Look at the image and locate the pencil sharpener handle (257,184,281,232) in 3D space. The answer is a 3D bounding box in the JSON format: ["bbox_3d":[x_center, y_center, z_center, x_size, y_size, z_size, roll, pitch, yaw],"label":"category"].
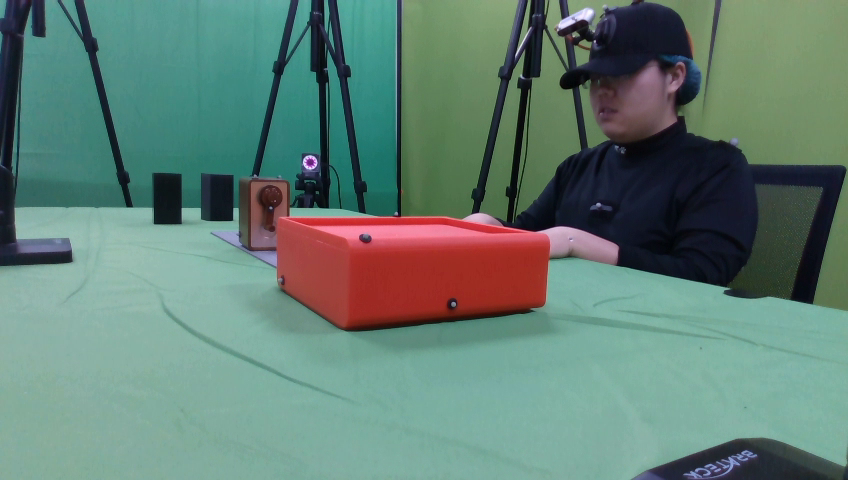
[{"bbox_3d":[-0.219,-0.046,0.865,0.036,0.067,0.030,6,5,-29],"label":"pencil sharpener handle"}]

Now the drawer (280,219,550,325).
[{"bbox_3d":[-0.016,0.024,0.612,0.213,0.073,0.193,-3,9,-30],"label":"drawer"}]

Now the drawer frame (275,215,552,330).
[{"bbox_3d":[-0.017,0.022,0.610,0.215,0.082,0.200,-2,9,-31],"label":"drawer frame"}]

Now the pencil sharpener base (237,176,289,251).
[{"bbox_3d":[-0.242,-0.040,0.912,0.061,0.107,0.076,-1,8,-29],"label":"pencil sharpener base"}]

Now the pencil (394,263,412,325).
[{"bbox_3d":[-0.021,0.052,0.614,0.012,0.012,0.194,3,12,0],"label":"pencil"}]
